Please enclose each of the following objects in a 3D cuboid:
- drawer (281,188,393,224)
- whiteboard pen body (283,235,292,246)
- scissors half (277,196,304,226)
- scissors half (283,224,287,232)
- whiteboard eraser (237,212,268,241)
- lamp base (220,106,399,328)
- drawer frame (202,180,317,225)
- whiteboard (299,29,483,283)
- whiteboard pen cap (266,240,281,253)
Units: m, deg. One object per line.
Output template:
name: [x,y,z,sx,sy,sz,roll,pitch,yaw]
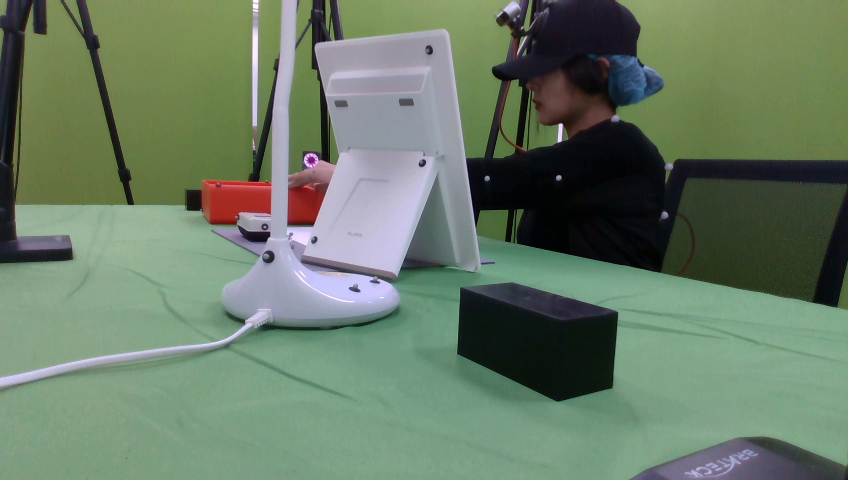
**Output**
drawer: [-0.200,-0.080,1.370,0.213,0.073,0.193,0,9,-24]
whiteboard pen body: [-0.206,0.005,0.872,0.017,0.017,0.140,2,4,-6]
scissors half: [-0.298,-0.061,1.344,0.013,0.040,0.175,2,22,5]
scissors half: [-0.298,-0.051,1.349,0.013,0.040,0.175,8,39,3]
whiteboard eraser: [-0.272,-0.023,0.998,0.056,0.042,0.112,-3,9,-26]
lamp base: [-0.101,-0.023,0.531,0.160,0.180,0.179,4,10,10]
drawer frame: [-0.356,-0.084,1.300,0.214,0.082,0.200,-2,9,-25]
whiteboard: [-0.074,-0.082,0.742,0.216,0.305,0.144,9,29,38]
whiteboard pen cap: [-0.202,0.009,0.813,0.018,0.018,0.033,1,3,-8]
